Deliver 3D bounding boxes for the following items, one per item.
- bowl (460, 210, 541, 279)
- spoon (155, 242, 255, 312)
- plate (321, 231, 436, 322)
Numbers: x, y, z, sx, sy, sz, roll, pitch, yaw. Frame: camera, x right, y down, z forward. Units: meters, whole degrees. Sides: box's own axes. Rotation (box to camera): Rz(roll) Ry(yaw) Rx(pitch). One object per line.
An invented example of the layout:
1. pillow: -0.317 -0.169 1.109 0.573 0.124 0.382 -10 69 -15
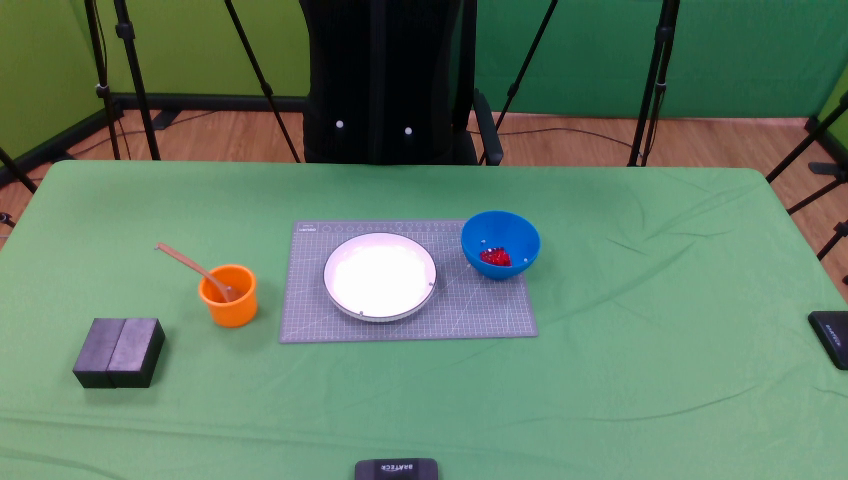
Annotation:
1. bowl: 0.140 0.021 1.145 0.151 0.077 0.150 2 46 -2
2. spoon: -0.366 0.061 1.021 0.021 0.195 0.041 -27 32 32
3. plate: -0.083 0.070 1.109 0.209 0.038 0.208 3 46 -3
